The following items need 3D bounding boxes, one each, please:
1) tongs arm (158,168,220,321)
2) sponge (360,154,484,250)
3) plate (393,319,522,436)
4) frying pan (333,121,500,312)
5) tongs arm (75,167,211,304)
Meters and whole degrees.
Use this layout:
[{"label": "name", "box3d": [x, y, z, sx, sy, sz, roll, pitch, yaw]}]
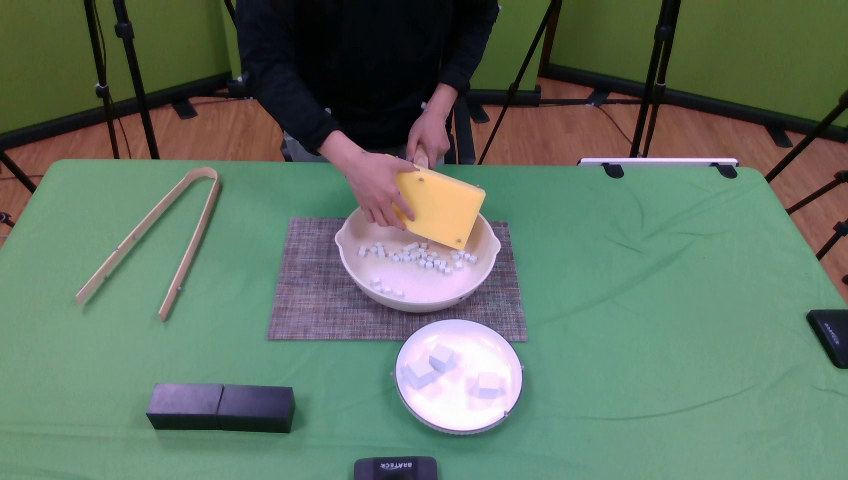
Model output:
[{"label": "tongs arm", "box3d": [-0.446, -0.006, 1.164, 0.028, 0.028, 0.385, 1, 46, 1]}, {"label": "sponge", "box3d": [-0.003, -0.073, 1.154, 0.207, 0.118, 0.060, 19, 14, -4]}, {"label": "plate", "box3d": [0.053, 0.222, 0.979, 0.208, 0.039, 0.206, 3, 46, -2]}, {"label": "frying pan", "box3d": [-0.011, -0.063, 1.195, 0.307, 0.103, 0.485, 4, 55, -2]}, {"label": "tongs arm", "box3d": [-0.526, -0.021, 1.167, 0.051, 0.026, 0.383, 13, 46, 7]}]
